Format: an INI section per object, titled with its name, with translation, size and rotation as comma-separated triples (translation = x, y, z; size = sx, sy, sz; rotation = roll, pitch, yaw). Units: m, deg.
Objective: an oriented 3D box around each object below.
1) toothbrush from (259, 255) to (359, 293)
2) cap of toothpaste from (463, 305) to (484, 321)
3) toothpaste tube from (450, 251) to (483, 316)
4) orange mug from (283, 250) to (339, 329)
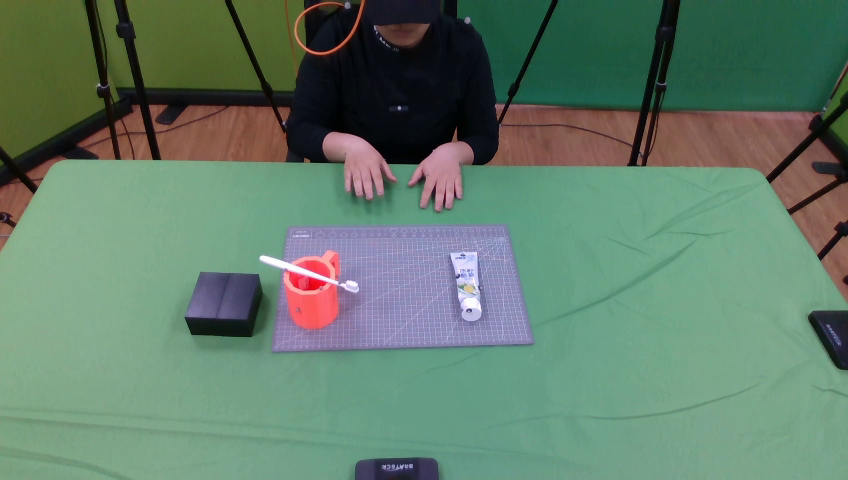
[toothbrush]
translation = -0.192, 0.054, 1.002
size = 0.181, 0.017, 0.014
rotation = 17, 53, 12
[cap of toothpaste]
translation = 0.087, 0.127, 1.064
size = 0.037, 0.037, 0.011
rotation = 2, 40, -2
[toothpaste tube]
translation = 0.084, 0.077, 1.122
size = 0.055, 0.035, 0.164
rotation = 3, 41, -8
[orange mug]
translation = -0.186, 0.078, 1.052
size = 0.083, 0.101, 0.126
rotation = 20, 52, 15
